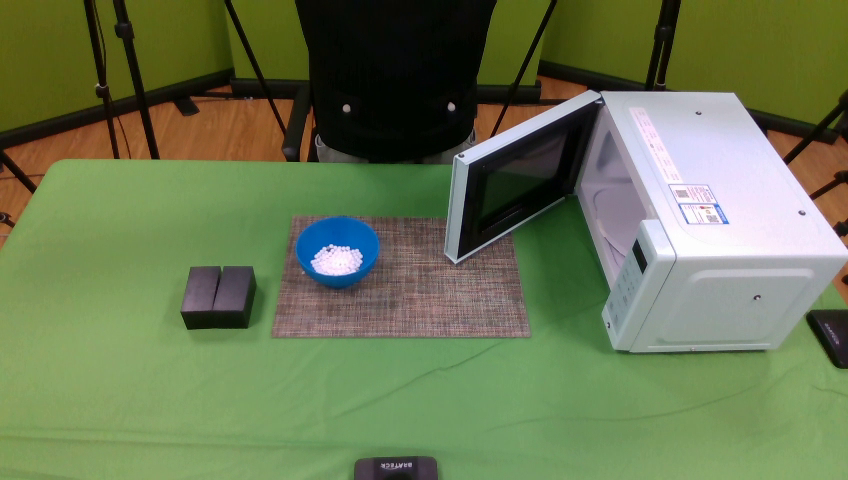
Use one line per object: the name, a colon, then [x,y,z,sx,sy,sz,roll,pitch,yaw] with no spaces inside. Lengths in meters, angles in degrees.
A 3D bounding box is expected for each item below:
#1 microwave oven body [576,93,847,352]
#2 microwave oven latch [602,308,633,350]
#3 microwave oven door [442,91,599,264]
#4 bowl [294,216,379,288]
microwave oven body: [0.475,-0.042,1.110,0.326,0.261,0.438,-1,45,-4]
microwave oven latch: [0.332,0.153,1.044,0.030,0.029,0.078,-1,45,-4]
microwave oven door: [0.188,-0.123,1.160,0.356,0.245,0.039,-29,55,-28]
bowl: [-0.158,0.036,1.110,0.151,0.077,0.150,3,45,-2]
